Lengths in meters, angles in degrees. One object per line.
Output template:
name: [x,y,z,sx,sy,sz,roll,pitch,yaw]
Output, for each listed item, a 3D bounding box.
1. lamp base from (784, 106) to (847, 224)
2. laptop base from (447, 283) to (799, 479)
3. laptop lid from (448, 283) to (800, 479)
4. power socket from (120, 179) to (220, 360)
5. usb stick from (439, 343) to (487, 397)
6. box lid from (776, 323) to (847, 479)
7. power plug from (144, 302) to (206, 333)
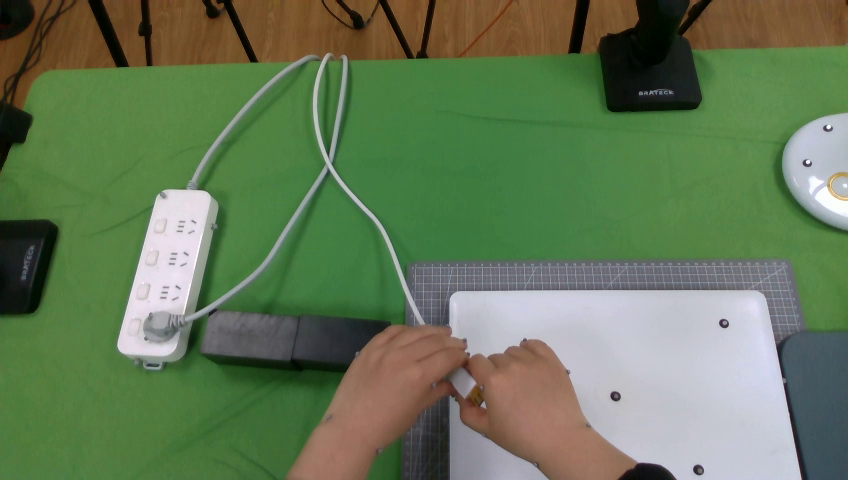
lamp base: [0.525,-0.130,0.671,0.160,0.181,0.178,32,70,15]
laptop base: [0.202,0.160,0.654,0.354,0.023,0.234,0,71,3]
laptop lid: [0.201,0.158,0.641,0.356,0.013,0.240,1,70,3]
power socket: [-0.300,0.028,0.724,0.072,0.033,0.225,3,67,4]
usb stick: [0.041,0.128,0.584,0.021,0.027,0.058,-53,44,14]
box lid: [0.513,0.260,0.600,0.263,0.015,0.368,0,68,2]
power plug: [-0.277,0.091,0.676,0.072,0.053,0.035,15,67,6]
